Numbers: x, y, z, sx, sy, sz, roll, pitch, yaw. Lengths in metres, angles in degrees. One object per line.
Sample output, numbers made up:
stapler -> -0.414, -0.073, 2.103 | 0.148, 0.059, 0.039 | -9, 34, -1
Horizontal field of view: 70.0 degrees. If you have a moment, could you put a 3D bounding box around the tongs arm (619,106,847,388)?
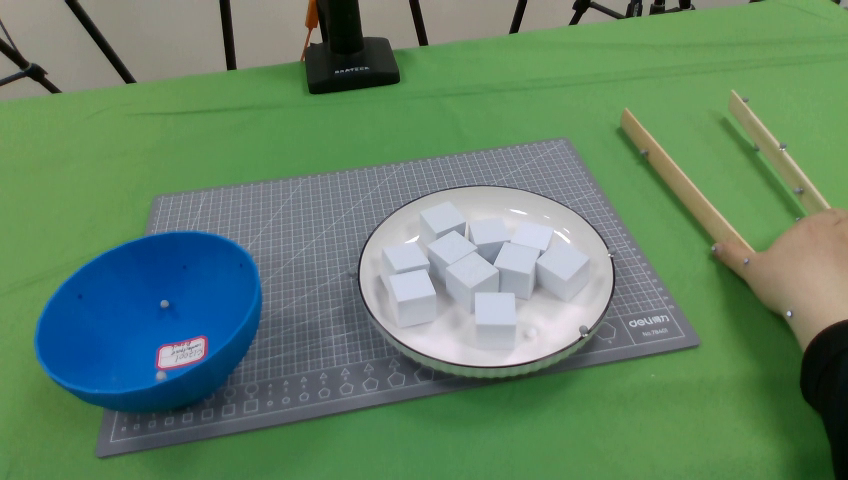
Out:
tongs arm -> 0.271, -0.016, 0.549 | 0.028, 0.028, 0.383 | -9, 44, -10

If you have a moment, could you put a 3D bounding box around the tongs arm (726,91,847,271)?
tongs arm -> 0.339, -0.026, 0.552 | 0.051, 0.027, 0.380 | -5, 44, -1

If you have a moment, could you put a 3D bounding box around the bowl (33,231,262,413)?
bowl -> -0.188, 0.071, 0.446 | 0.151, 0.077, 0.150 | -2, 42, 2

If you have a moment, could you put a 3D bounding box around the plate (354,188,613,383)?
plate -> 0.048, 0.034, 0.500 | 0.207, 0.039, 0.205 | -2, 43, 2
